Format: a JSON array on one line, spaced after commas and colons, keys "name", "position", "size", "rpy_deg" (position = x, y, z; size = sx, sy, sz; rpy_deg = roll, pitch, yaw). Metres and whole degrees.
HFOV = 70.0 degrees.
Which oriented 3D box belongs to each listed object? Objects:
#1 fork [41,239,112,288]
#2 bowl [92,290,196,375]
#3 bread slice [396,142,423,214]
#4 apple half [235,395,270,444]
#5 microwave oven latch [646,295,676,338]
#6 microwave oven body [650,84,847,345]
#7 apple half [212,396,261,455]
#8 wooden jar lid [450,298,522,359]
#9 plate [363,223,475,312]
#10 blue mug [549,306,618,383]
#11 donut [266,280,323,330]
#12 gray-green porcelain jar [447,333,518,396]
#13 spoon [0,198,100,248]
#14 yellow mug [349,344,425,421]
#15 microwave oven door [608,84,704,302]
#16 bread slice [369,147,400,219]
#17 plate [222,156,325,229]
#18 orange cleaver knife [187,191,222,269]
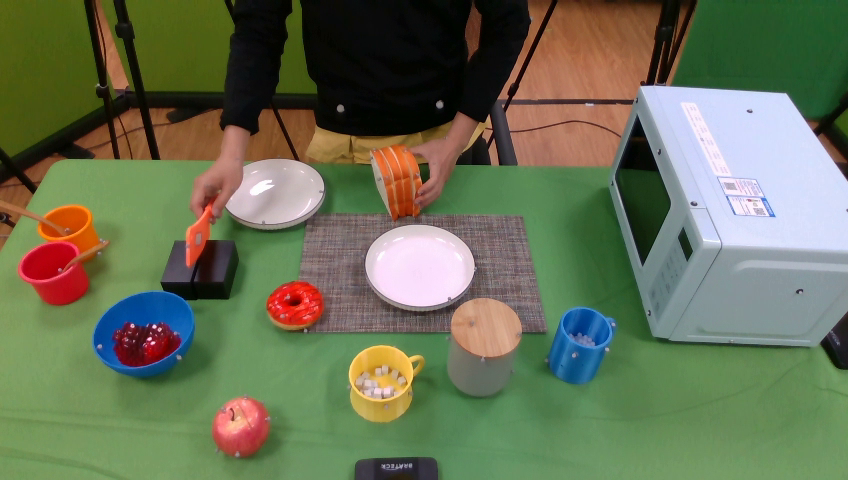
[{"name": "fork", "position": [-0.591, 0.040, 1.028], "size": [0.207, 0.019, 0.028], "rpy_deg": [-27, 36, 29]}, {"name": "bowl", "position": [-0.436, 0.161, 0.971], "size": [0.151, 0.077, 0.150], "rpy_deg": [2, 46, -2]}, {"name": "bread slice", "position": [-0.030, -0.132, 1.234], "size": [0.019, 0.132, 0.104], "rpy_deg": [-19, 51, -15]}, {"name": "apple half", "position": [-0.245, 0.260, 0.893], "size": [0.033, 0.082, 0.081], "rpy_deg": [-29, 55, -22]}, {"name": "microwave oven latch", "position": [0.413, 0.133, 1.060], "size": [0.030, 0.029, 0.078], "rpy_deg": [4, 46, 1]}, {"name": "microwave oven body", "position": [0.569, -0.054, 1.116], "size": [0.326, 0.261, 0.439], "rpy_deg": [2, 46, -1]}, {"name": "apple half", "position": [-0.276, 0.276, 0.877], "size": [0.053, 0.075, 0.080], "rpy_deg": [-29, 58, -21]}, {"name": "wooden jar lid", "position": [0.093, 0.135, 0.914], "size": [0.108, 0.021, 0.107], "rpy_deg": [3, 48, -3]}, {"name": "plate", "position": [-0.009, 0.054, 1.126], "size": [0.208, 0.039, 0.206], "rpy_deg": [2, 46, -2]}, {"name": "blue mug", "position": [0.269, 0.167, 0.997], "size": [0.116, 0.106, 0.082], "rpy_deg": [-19, 51, -21]}, {"name": "donut", "position": [-0.223, 0.112, 1.051], "size": [0.099, 0.048, 0.098], "rpy_deg": [2, 46, -2]}, {"name": "gray-green porcelain jar", "position": [0.091, 0.178, 0.960], "size": [0.106, 0.127, 0.105], "rpy_deg": [2, 46, -2]}, {"name": "spoon", "position": [-0.684, -0.035, 1.092], "size": [0.021, 0.195, 0.041], "rpy_deg": [-32, 42, 28]}, {"name": "yellow mug", "position": [-0.054, 0.217, 0.954], "size": [0.131, 0.064, 0.099], "rpy_deg": [-24, 52, -25]}, {"name": "microwave oven door", "position": [0.424, -0.096, 1.138], "size": [0.039, 0.245, 0.353], "rpy_deg": [3, 46, -1]}, {"name": "bread slice", "position": [-0.081, -0.124, 1.223], "size": [0.018, 0.135, 0.106], "rpy_deg": [-22, 50, -8]}, {"name": "plate", "position": [-0.307, -0.095, 1.251], "size": [0.209, 0.038, 0.208], "rpy_deg": [2, 47, -2]}, {"name": "orange cleaver knife", "position": [-0.399, -0.023, 1.104], "size": [0.012, 0.077, 0.210], "rpy_deg": [3, 28, -4]}]
